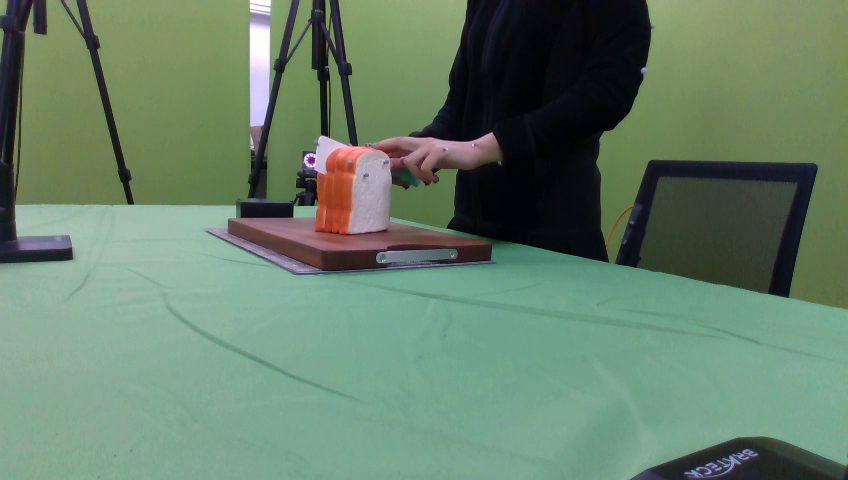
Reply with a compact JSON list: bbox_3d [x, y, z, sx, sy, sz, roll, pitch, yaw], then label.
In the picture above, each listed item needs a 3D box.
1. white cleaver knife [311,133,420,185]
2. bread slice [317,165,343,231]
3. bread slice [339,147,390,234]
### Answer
[{"bbox_3d":[-0.091,-0.116,0.998,0.021,0.066,0.288,9,0,32],"label":"white cleaver knife"},{"bbox_3d":[-0.127,-0.081,0.949,0.018,0.134,0.107,1,1,29],"label":"bread slice"},{"bbox_3d":[-0.087,-0.075,0.918,0.019,0.131,0.105,12,13,32],"label":"bread slice"}]
